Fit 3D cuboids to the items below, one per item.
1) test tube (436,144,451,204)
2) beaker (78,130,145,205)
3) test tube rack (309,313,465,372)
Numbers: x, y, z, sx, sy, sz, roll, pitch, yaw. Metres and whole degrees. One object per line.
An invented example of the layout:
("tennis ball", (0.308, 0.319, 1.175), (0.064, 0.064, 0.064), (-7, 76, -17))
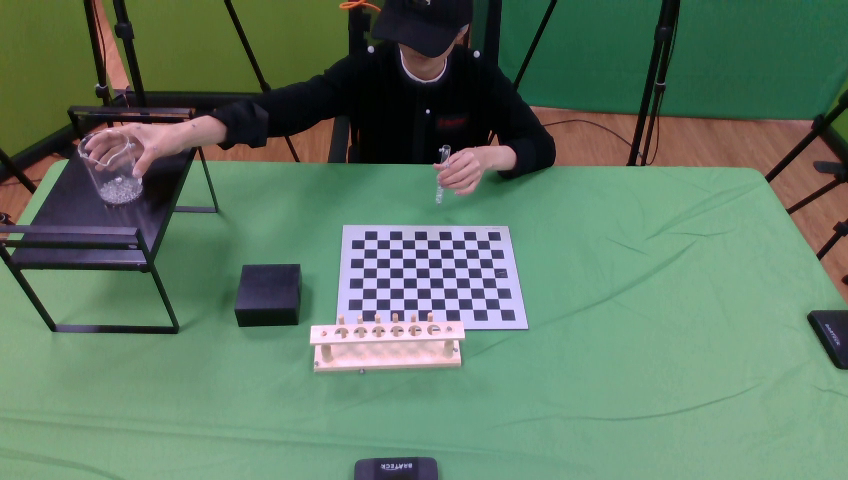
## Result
("test tube", (0.038, -0.126, 1.185), (0.017, 0.151, 0.017), (3, 49, -3))
("beaker", (-0.493, -0.111, 0.965), (0.074, 0.101, 0.083), (-14, 49, -16))
("test tube rack", (-0.059, 0.161, 0.990), (0.242, 0.085, 0.066), (-1, 46, -5))
